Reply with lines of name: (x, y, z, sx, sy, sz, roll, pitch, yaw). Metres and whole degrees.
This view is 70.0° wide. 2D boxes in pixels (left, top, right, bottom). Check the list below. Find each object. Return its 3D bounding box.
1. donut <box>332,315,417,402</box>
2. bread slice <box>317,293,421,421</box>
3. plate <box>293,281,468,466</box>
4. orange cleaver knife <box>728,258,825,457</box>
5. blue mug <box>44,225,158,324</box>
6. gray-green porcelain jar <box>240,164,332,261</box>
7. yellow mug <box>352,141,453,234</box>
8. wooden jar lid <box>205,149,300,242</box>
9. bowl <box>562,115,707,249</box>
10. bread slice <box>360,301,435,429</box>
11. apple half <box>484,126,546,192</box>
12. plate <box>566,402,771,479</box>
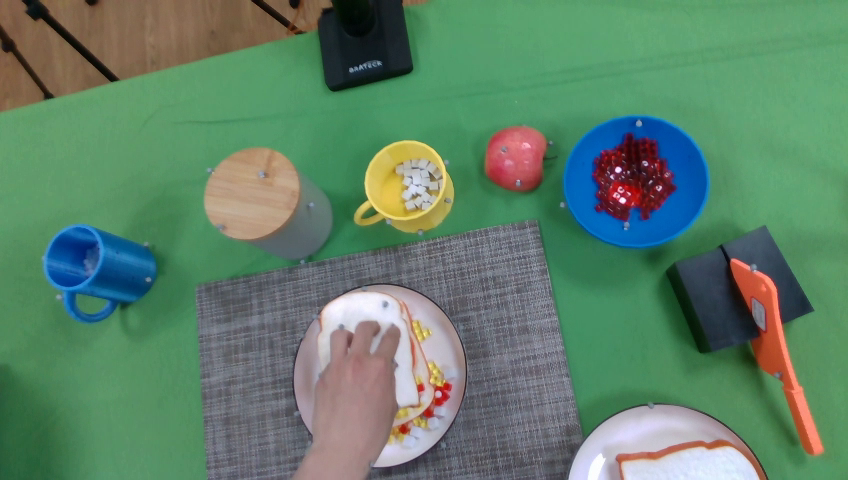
donut: (-0.056, 0.134, 0.689, 0.099, 0.048, 0.098, -2, 79, 12)
bread slice: (-0.063, 0.121, 0.642, 0.105, 0.019, 0.130, -5, 74, -12)
plate: (-0.049, 0.154, 0.710, 0.207, 0.039, 0.206, -2, 78, 10)
orange cleaver knife: (0.359, 0.119, 0.623, 0.012, 0.077, 0.211, -22, 96, -2)
blue mug: (-0.410, 0.050, 0.768, 0.082, 0.106, 0.116, 9, 79, 13)
gray-green porcelain jar: (-0.175, -0.034, 0.733, 0.105, 0.127, 0.105, -2, 77, 10)
yellow mug: (-0.031, -0.054, 0.742, 0.131, 0.064, 0.099, -33, 74, 3)
wooden jar lid: (-0.188, -0.048, 0.672, 0.108, 0.021, 0.108, -2, 75, 8)
bowl: (0.232, -0.056, 0.687, 0.151, 0.077, 0.150, -2, 77, 10)
bread slice: (-0.045, 0.151, 0.710, 0.107, 0.018, 0.133, -29, 76, 4)
apple half: (0.110, -0.104, 0.734, 0.074, 0.054, 0.080, 11, 80, 15)
plate: (0.251, 0.274, 0.631, 0.209, 0.038, 0.208, -2, 77, 11)
